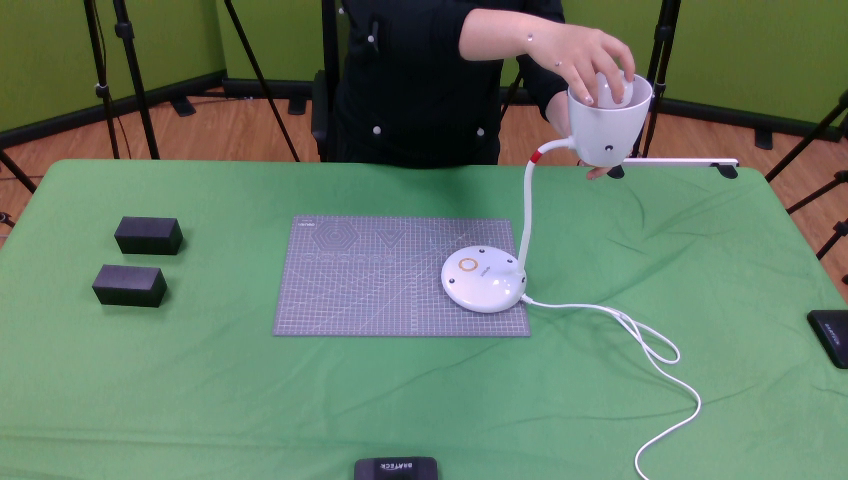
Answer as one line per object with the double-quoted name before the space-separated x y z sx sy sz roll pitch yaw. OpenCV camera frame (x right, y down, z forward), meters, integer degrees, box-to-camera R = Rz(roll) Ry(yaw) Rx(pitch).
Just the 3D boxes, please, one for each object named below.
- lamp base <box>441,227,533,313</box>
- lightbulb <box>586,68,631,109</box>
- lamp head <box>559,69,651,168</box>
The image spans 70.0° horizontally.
"lamp base" 0.126 0.022 1.071 0.179 0.181 0.160 23 49 14
"lightbulb" 0.252 -0.182 0.834 0.059 0.108 0.059 -2 26 1
"lamp head" 0.251 -0.164 0.860 0.112 0.123 0.111 0 42 0
